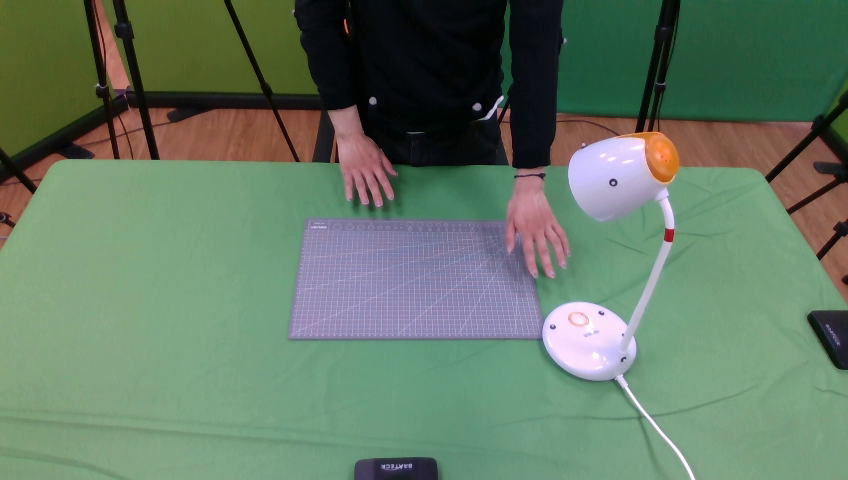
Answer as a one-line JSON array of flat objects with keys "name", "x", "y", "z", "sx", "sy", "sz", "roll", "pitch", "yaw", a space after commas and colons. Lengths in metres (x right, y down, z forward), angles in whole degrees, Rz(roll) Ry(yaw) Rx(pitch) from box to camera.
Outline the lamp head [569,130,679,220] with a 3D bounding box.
[{"name": "lamp head", "x": 0.272, "y": -0.090, "z": 0.798, "sx": 0.113, "sy": 0.122, "sz": 0.112, "roll": 7, "pitch": 78, "yaw": -33}]

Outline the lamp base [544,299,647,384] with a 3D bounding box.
[{"name": "lamp base", "x": 0.299, "y": 0.124, "z": 0.984, "sx": 0.161, "sy": 0.181, "sz": 0.178, "roll": -23, "pitch": 55, "yaw": -23}]
